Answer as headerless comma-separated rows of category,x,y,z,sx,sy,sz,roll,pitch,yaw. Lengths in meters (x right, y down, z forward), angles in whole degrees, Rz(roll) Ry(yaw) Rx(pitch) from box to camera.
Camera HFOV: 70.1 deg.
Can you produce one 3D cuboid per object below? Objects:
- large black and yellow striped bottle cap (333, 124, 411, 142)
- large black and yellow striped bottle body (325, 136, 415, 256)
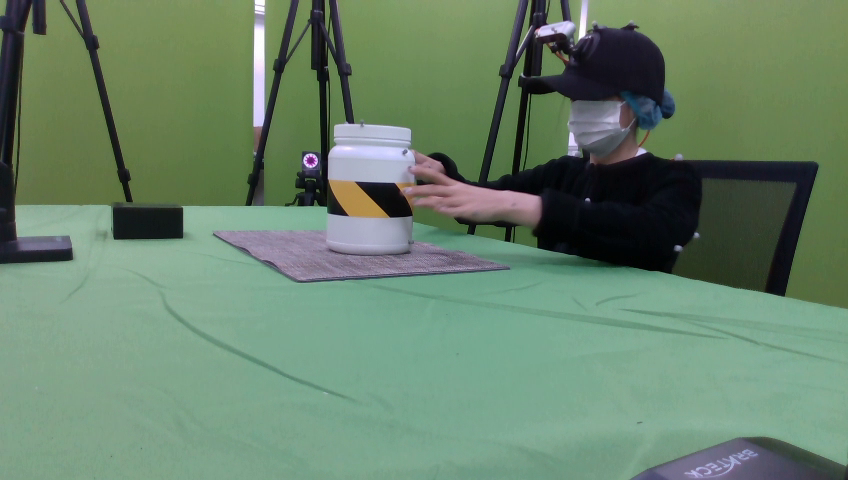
large black and yellow striped bottle cap,-0.077,-0.157,0.896,0.115,0.019,0.115,5,7,0
large black and yellow striped bottle body,-0.080,-0.074,0.905,0.131,0.184,0.130,3,7,0
